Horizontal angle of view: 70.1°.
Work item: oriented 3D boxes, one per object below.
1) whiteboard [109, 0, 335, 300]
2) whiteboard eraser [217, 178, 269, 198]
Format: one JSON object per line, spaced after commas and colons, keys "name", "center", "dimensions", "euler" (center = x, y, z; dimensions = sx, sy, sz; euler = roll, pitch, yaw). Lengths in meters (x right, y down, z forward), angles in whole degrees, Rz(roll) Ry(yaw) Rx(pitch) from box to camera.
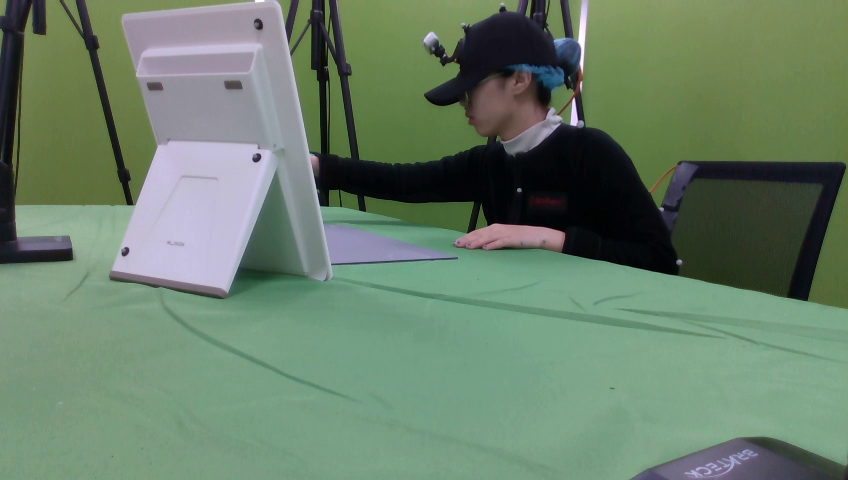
{"name": "whiteboard", "center": [-0.247, -0.072, 0.624], "dimensions": [0.216, 0.305, 0.144], "euler": [6, 28, 26]}
{"name": "whiteboard eraser", "center": [-0.389, -0.113, 1.303], "dimensions": [0.055, 0.042, 0.113], "euler": [4, 7, 20]}
